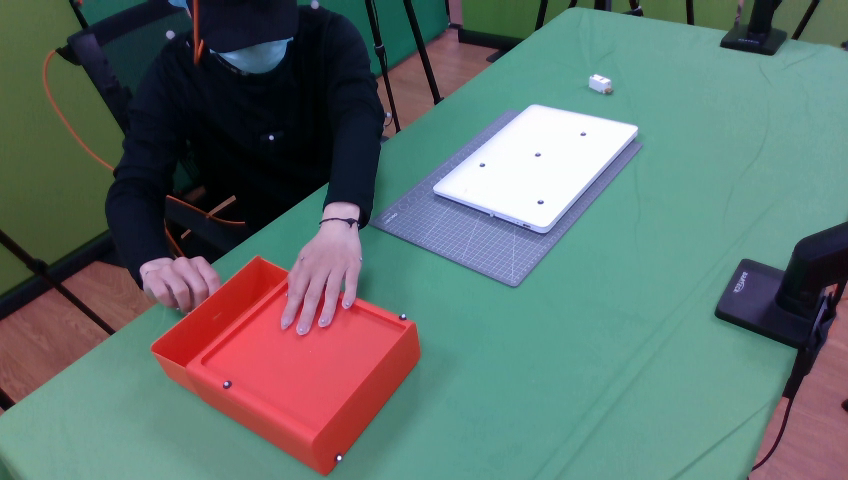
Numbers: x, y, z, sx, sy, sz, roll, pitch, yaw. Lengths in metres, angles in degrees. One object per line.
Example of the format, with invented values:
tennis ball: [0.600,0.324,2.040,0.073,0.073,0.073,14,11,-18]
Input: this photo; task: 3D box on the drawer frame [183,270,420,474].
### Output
drawer frame: [-0.149,0.153,0.767,0.212,0.083,0.202,19,46,27]

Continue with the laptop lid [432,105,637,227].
laptop lid: [0.207,-0.152,1.105,0.239,0.013,0.358,23,49,34]

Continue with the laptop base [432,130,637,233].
laptop base: [0.210,-0.142,1.111,0.233,0.023,0.355,21,47,34]

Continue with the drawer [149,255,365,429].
drawer: [-0.207,0.133,0.794,0.210,0.073,0.195,21,47,26]

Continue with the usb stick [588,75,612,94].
usb stick: [0.381,-0.333,1.304,0.021,0.027,0.058,-25,46,-22]
